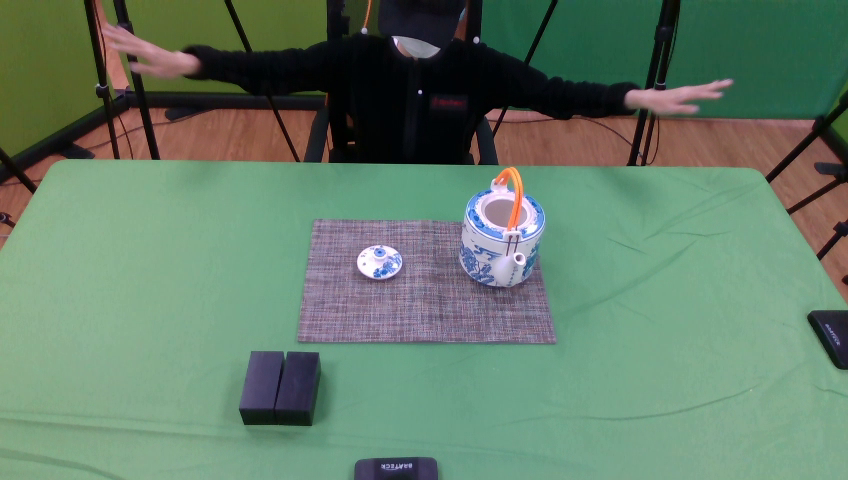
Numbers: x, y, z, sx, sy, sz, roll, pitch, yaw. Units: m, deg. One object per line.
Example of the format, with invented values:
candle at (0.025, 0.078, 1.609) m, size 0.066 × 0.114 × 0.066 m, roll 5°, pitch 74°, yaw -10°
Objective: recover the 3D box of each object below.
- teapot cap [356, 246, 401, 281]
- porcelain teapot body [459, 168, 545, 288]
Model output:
teapot cap at (-0.085, 0.039, 1.135) m, size 0.085 × 0.044 × 0.084 m, roll 4°, pitch 47°, yaw -4°
porcelain teapot body at (0.146, -0.006, 1.070) m, size 0.145 × 0.226 × 0.204 m, roll -4°, pitch 46°, yaw -8°
